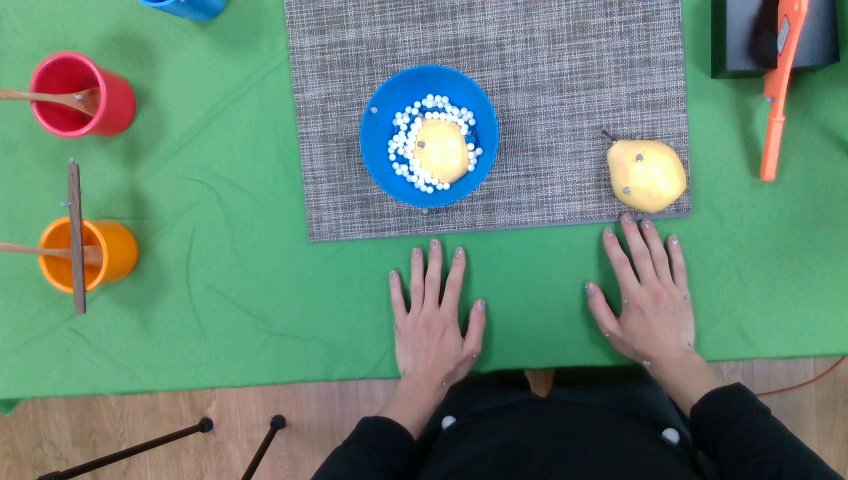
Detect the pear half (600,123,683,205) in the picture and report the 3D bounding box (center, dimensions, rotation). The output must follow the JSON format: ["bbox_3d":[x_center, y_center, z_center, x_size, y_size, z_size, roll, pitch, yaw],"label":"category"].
[{"bbox_3d":[0.233,-0.091,0.667,0.109,0.056,0.076,45,93,5],"label":"pear half"}]

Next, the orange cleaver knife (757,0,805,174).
[{"bbox_3d":[0.364,-0.173,0.629,0.012,0.076,0.213,-1,124,13],"label":"orange cleaver knife"}]

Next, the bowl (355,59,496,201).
[{"bbox_3d":[0.006,-0.118,0.676,0.151,0.077,0.151,1,95,7],"label":"bowl"}]

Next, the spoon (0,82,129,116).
[{"bbox_3d":[-0.448,-0.170,0.698,0.195,0.021,0.041,-3,99,-36],"label":"spoon"}]

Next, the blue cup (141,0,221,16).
[{"bbox_3d":[-0.279,-0.298,0.686,0.092,0.100,0.093,1,95,9],"label":"blue cup"}]

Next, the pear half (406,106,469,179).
[{"bbox_3d":[0.011,-0.112,0.670,0.070,0.031,0.088,-31,87,7],"label":"pear half"}]

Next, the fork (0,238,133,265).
[{"bbox_3d":[-0.455,0.006,0.712,0.209,0.018,0.028,10,108,-38],"label":"fork"}]

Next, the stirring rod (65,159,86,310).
[{"bbox_3d":[-0.404,-0.005,0.703,0.014,0.006,0.176,0,96,4],"label":"stirring rod"}]
